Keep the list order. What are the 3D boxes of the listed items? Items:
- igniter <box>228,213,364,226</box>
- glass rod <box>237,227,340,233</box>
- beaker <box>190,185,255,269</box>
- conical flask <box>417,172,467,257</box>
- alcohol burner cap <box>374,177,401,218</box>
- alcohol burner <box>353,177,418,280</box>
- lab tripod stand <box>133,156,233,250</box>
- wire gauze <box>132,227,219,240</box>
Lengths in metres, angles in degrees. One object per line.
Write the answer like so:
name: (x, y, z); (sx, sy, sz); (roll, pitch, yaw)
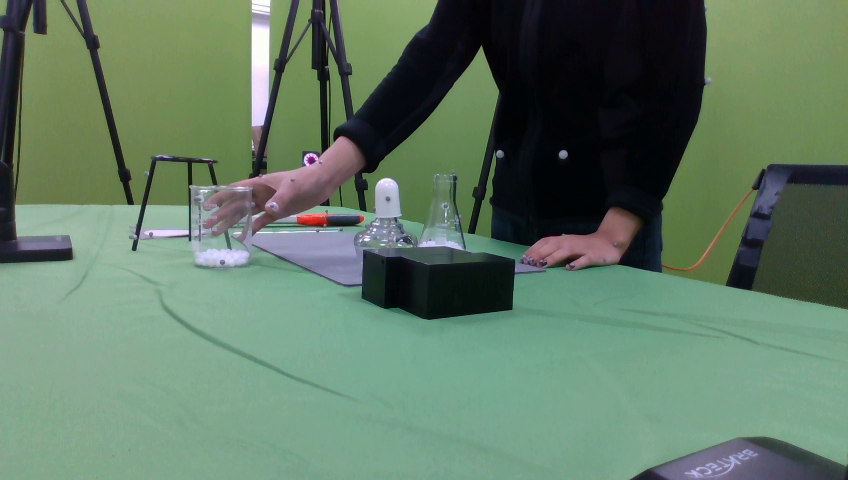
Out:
igniter: (-0.252, -0.042, 1.227); (0.278, 0.025, 0.057); (-3, -2, -32)
glass rod: (-0.247, -0.020, 1.124); (0.201, 0.008, 0.008); (-2, 8, -34)
beaker: (-0.253, -0.018, 0.754); (0.083, 0.100, 0.074); (6, 8, 32)
conical flask: (0.029, -0.039, 0.897); (0.075, 0.122, 0.075); (2, 8, 0)
alcohol burner cap: (-0.044, -0.049, 0.704); (0.034, 0.048, 0.034); (-3, 10, 1)
alcohol burner: (-0.044, -0.014, 0.710); (0.078, 0.119, 0.078); (4, 9, 0)
lab tripod stand: (-0.342, -0.054, 0.878); (0.148, 0.131, 0.148); (4, 6, 0)
wire gauze: (-0.421, -0.014, 1.024); (0.122, 0.011, 0.124); (-2, 7, -34)
